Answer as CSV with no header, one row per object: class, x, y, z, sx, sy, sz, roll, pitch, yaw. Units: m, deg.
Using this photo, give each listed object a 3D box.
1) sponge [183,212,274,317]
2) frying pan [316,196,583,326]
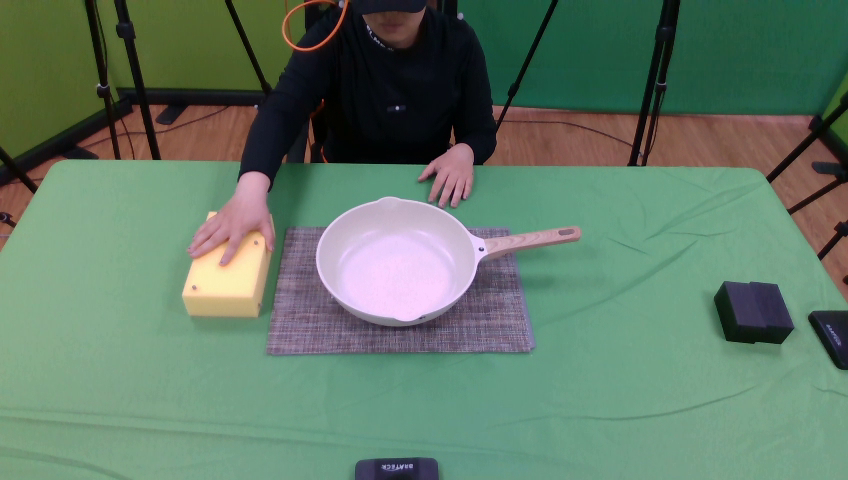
sponge,-0.351,0.041,1.107,0.118,0.061,0.205,1,46,-3
frying pan,0.054,0.027,1.114,0.488,0.103,0.304,-9,48,-1
